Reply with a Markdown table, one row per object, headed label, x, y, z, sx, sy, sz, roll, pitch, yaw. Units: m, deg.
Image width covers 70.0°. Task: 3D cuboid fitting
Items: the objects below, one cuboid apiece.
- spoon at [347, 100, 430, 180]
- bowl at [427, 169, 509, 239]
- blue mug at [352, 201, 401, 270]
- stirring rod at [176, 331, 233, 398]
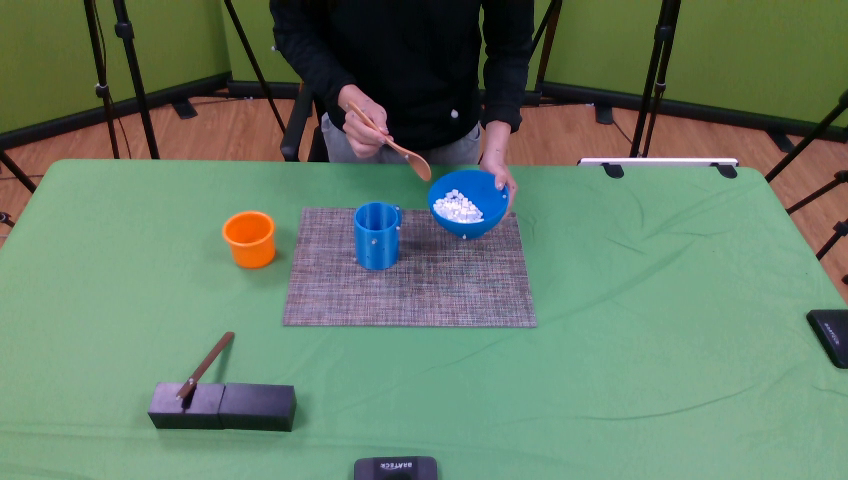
| label | x | y | z | sx | sy | sz | roll | pitch | yaw |
| --- | --- | --- | --- | --- | --- | --- | --- | --- | --- |
| spoon | -0.061 | -0.174 | 1.049 | 0.194 | 0.041 | 0.021 | 40 | 63 | -8 |
| bowl | 0.083 | -0.055 | 1.130 | 0.151 | 0.077 | 0.150 | -3 | 46 | 3 |
| blue mug | -0.082 | -0.017 | 1.144 | 0.082 | 0.106 | 0.116 | 30 | 51 | 22 |
| stirring rod | -0.342 | 0.192 | 0.955 | 0.014 | 0.006 | 0.175 | 3 | 24 | 7 |
